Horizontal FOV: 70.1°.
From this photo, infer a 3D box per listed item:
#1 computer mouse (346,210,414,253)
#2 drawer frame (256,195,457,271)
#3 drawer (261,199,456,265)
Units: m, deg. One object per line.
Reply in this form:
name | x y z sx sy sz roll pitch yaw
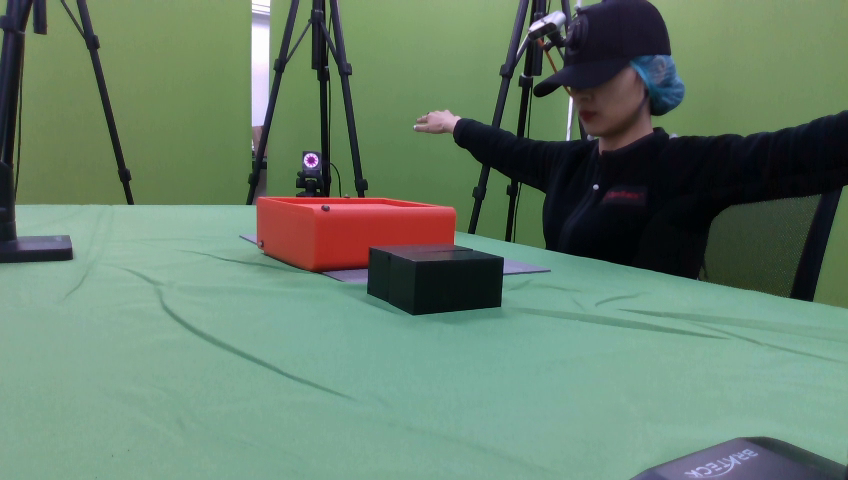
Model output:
computer mouse | -0.063 -0.014 0.852 0.063 0.041 0.116 0 21 -31
drawer frame | -0.097 -0.017 0.843 0.215 0.082 0.200 -4 10 -35
drawer | -0.094 -0.017 0.844 0.213 0.073 0.193 -3 10 -34
